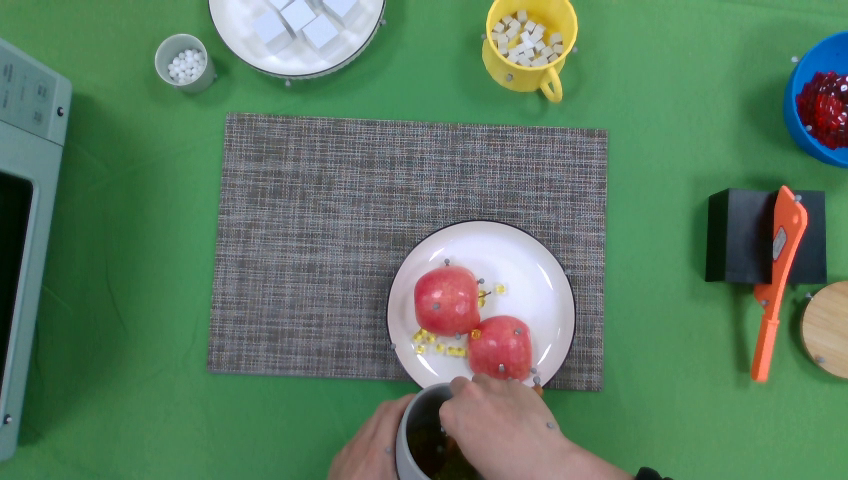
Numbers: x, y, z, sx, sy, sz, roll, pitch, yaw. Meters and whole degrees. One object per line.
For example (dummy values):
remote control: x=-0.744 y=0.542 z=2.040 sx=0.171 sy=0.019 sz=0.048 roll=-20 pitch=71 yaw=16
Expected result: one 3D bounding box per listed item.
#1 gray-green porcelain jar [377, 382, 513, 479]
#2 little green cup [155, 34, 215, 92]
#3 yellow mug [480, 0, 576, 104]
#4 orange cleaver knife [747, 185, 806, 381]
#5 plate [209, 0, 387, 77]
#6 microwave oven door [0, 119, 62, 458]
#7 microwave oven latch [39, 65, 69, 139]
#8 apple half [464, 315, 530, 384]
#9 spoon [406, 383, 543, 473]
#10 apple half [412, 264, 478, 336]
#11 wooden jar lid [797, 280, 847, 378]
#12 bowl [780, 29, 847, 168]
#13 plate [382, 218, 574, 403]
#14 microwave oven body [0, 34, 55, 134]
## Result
gray-green porcelain jar: x=0.014 y=0.212 z=0.576 sx=0.106 sy=0.127 sz=0.105 roll=10 pitch=45 yaw=-10
little green cup: x=-0.277 y=-0.204 z=0.709 sx=0.061 sy=0.038 sz=0.061 roll=0 pitch=85 yaw=0
yellow mug: x=0.123 y=-0.215 z=0.690 sx=0.100 sy=0.064 sz=0.130 roll=-26 pitch=86 yaw=-2
orange cleaver knife: x=0.370 y=0.049 z=0.653 sx=0.012 sy=0.077 sz=0.212 roll=4 pitch=109 yaw=5
plate: x=-0.145 y=-0.289 z=0.716 sx=0.207 sy=0.039 sz=0.207 roll=0 pitch=85 yaw=1
microwave oven door: x=-0.457 y=0.049 z=0.571 sx=0.039 sy=0.244 sz=0.355 roll=6 pitch=85 yaw=3
microwave oven latch: x=-0.429 y=-0.158 z=0.691 sx=0.030 sy=0.029 sz=0.079 roll=9 pitch=86 yaw=2
apple half: x=0.081 y=0.121 z=0.664 sx=0.081 sy=0.033 sz=0.081 roll=0 pitch=81 yaw=1
spoon: x=0.032 y=0.175 z=0.549 sx=0.022 sy=0.194 sz=0.041 roll=25 pitch=40 yaw=-31
apple half: x=0.022 y=0.065 z=0.661 sx=0.074 sy=0.053 sz=0.080 roll=0 pitch=85 yaw=4
wooden jar lid: x=0.469 y=0.099 z=0.677 sx=0.108 sy=0.021 sz=0.108 roll=0 pitch=85 yaw=3
bowl: x=0.459 y=-0.145 z=0.670 sx=0.151 sy=0.077 sz=0.151 roll=0 pitch=85 yaw=2
plate: x=0.059 y=0.080 z=0.674 sx=0.209 sy=0.038 sz=0.208 roll=0 pitch=85 yaw=1
microwave oven body: x=-0.598 y=-0.008 z=0.584 sx=0.326 sy=0.260 sz=0.440 roll=6 pitch=85 yaw=1
